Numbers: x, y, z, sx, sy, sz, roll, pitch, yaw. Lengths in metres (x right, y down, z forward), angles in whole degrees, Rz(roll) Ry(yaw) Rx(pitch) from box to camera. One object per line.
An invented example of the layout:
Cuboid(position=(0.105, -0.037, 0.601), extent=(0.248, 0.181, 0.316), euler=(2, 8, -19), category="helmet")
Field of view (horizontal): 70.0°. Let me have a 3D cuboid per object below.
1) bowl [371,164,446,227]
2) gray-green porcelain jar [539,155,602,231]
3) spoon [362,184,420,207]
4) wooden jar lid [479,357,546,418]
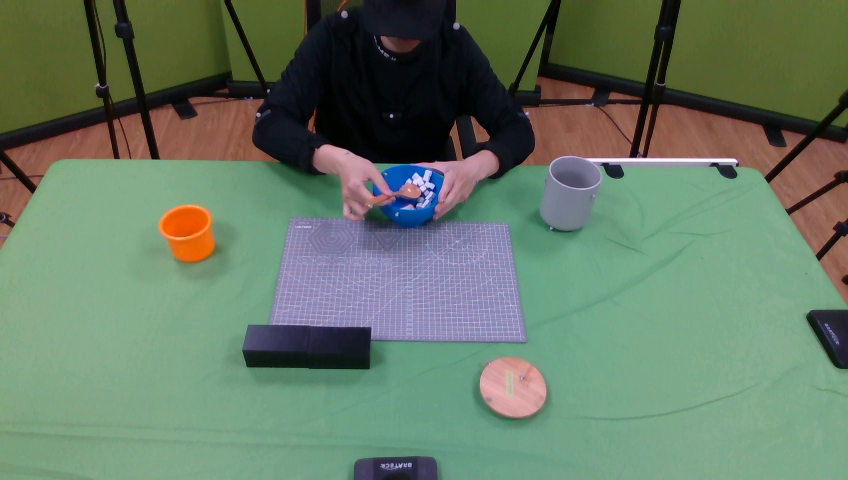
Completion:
Cuboid(position=(-0.032, -0.079, 1.229), extent=(0.151, 0.077, 0.150), euler=(2, 43, -2), category="bowl")
Cuboid(position=(0.294, -0.091, 1.235), extent=(0.106, 0.127, 0.105), euler=(2, 46, -2), category="gray-green porcelain jar")
Cuboid(position=(-0.063, -0.086, 1.168), extent=(0.041, 0.022, 0.194), euler=(37, 25, 16), category="spoon")
Cuboid(position=(0.142, 0.240, 0.979), extent=(0.108, 0.021, 0.107), euler=(1, 46, -1), category="wooden jar lid")
